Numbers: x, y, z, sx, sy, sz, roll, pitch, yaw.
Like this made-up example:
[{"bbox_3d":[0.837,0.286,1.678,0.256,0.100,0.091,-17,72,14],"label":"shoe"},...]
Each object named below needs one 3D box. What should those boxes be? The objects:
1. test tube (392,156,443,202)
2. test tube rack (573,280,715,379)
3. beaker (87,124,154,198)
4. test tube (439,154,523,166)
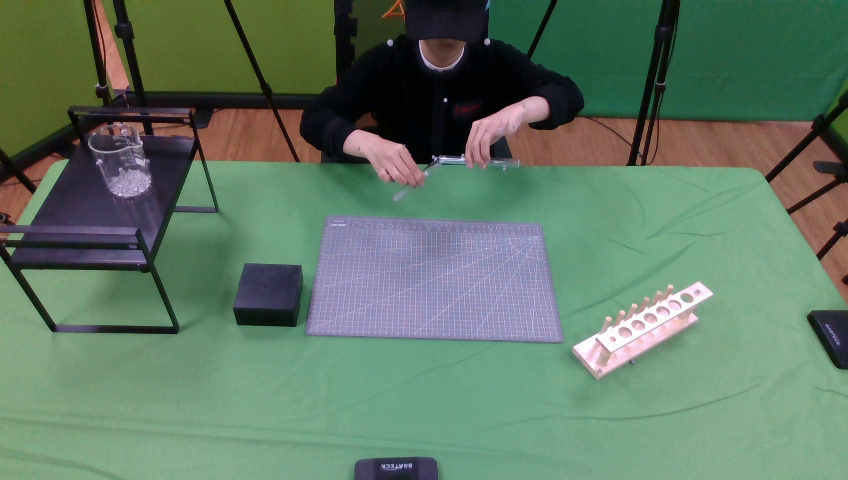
[{"bbox_3d":[-0.014,-0.113,1.142,0.017,0.150,0.017,22,50,-30],"label":"test tube"},{"bbox_3d":[0.378,0.140,1.038,0.242,0.085,0.066,-22,51,-23],"label":"test tube rack"},{"bbox_3d":[-0.482,-0.124,0.978,0.084,0.101,0.073,9,46,4],"label":"beaker"},{"bbox_3d":[0.099,-0.142,1.071,0.150,0.017,0.017,4,45,16],"label":"test tube"}]
